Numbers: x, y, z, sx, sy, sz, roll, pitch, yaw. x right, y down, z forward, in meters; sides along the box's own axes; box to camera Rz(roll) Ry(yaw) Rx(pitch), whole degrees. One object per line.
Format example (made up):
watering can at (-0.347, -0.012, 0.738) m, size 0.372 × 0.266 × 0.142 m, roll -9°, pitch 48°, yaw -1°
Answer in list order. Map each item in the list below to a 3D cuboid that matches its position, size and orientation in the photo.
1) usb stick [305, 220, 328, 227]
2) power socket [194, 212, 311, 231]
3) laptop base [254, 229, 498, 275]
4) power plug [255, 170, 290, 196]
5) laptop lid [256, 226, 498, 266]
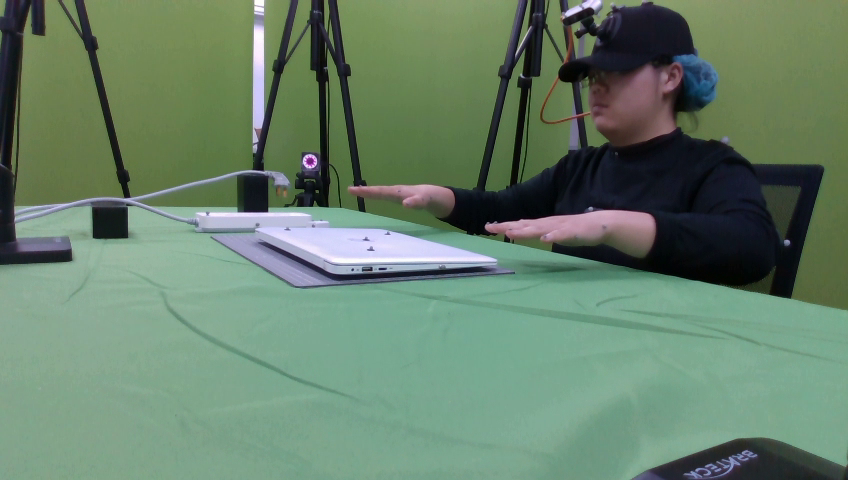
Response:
usb stick at (-0.194, -0.020, 1.075) m, size 0.021 × 0.027 × 0.059 m, roll 4°, pitch 10°, yaw 22°
power socket at (-0.322, -0.037, 1.152) m, size 0.228 × 0.032 × 0.072 m, roll -2°, pitch 8°, yaw -34°
laptop base at (-0.088, 0.016, 0.878) m, size 0.237 × 0.023 × 0.352 m, roll 2°, pitch 6°, yaw -31°
power plug at (-0.323, -0.120, 1.285) m, size 0.073 × 0.052 × 0.035 m, roll 2°, pitch -13°, yaw -13°
laptop lid at (-0.085, 0.004, 0.878) m, size 0.243 × 0.013 × 0.355 m, roll 1°, pitch 7°, yaw -29°
